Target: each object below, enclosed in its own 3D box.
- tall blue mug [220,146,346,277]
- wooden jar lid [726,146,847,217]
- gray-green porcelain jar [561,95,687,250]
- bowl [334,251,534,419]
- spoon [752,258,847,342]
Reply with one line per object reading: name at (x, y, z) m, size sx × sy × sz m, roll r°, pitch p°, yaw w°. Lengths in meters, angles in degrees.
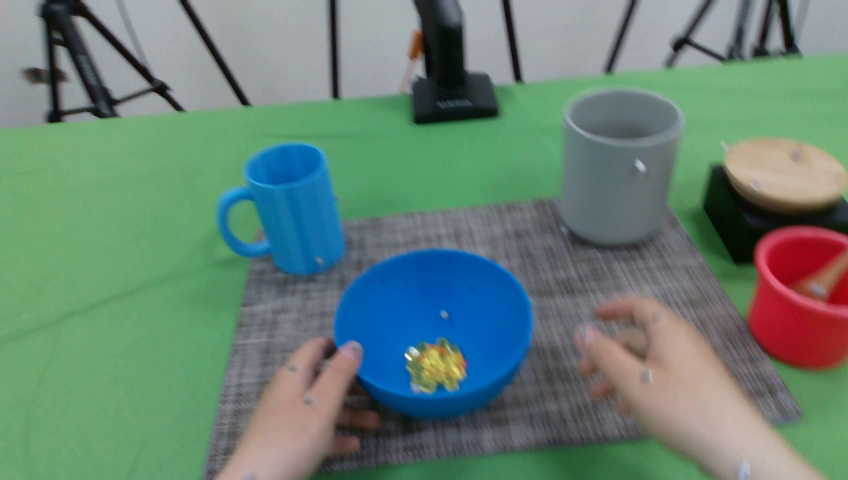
tall blue mug at (-0.134, -0.020, 0.595) m, size 0.077 × 0.109 × 0.107 m, roll 28°, pitch 50°, yaw 32°
wooden jar lid at (0.350, -0.057, 0.587) m, size 0.108 × 0.021 × 0.107 m, roll -3°, pitch 39°, yaw 3°
gray-green porcelain jar at (0.191, -0.062, 0.599) m, size 0.106 × 0.127 × 0.105 m, roll -3°, pitch 40°, yaw 3°
bowl at (0.010, 0.086, 0.477) m, size 0.151 × 0.077 × 0.150 m, roll -3°, pitch 40°, yaw 3°
spoon at (0.347, 0.016, 0.481) m, size 0.022 × 0.194 × 0.041 m, roll 32°, pitch 22°, yaw -28°
